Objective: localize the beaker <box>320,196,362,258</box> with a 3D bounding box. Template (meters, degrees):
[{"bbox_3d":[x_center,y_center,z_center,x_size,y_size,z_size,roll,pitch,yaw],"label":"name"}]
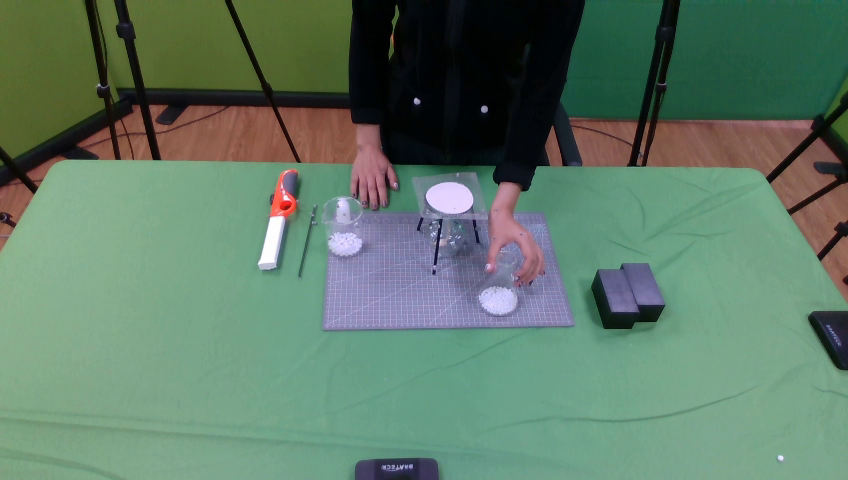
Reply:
[{"bbox_3d":[-0.156,-0.021,1.150,0.084,0.101,0.073,-30,55,-28],"label":"beaker"}]

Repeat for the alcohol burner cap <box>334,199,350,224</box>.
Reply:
[{"bbox_3d":[-0.168,-0.061,1.227,0.034,0.048,0.033,2,46,-2],"label":"alcohol burner cap"}]

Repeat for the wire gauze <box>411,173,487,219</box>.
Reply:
[{"bbox_3d":[0.044,-0.080,1.106,0.125,0.011,0.120,-3,46,-7],"label":"wire gauze"}]

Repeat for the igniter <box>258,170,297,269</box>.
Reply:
[{"bbox_3d":[-0.294,-0.049,1.220,0.057,0.025,0.275,-5,45,4],"label":"igniter"}]

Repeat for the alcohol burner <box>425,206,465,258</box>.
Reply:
[{"bbox_3d":[0.041,-0.023,1.158,0.078,0.119,0.077,3,47,-3],"label":"alcohol burner"}]

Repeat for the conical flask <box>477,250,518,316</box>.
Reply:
[{"bbox_3d":[0.137,0.072,1.067,0.075,0.122,0.075,2,46,-2],"label":"conical flask"}]

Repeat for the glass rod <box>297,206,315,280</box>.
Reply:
[{"bbox_3d":[-0.232,0.001,1.192,0.008,0.008,0.198,3,46,-1],"label":"glass rod"}]

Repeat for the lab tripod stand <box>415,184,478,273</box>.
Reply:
[{"bbox_3d":[0.041,-0.031,1.152,0.148,0.132,0.147,3,44,-3],"label":"lab tripod stand"}]
